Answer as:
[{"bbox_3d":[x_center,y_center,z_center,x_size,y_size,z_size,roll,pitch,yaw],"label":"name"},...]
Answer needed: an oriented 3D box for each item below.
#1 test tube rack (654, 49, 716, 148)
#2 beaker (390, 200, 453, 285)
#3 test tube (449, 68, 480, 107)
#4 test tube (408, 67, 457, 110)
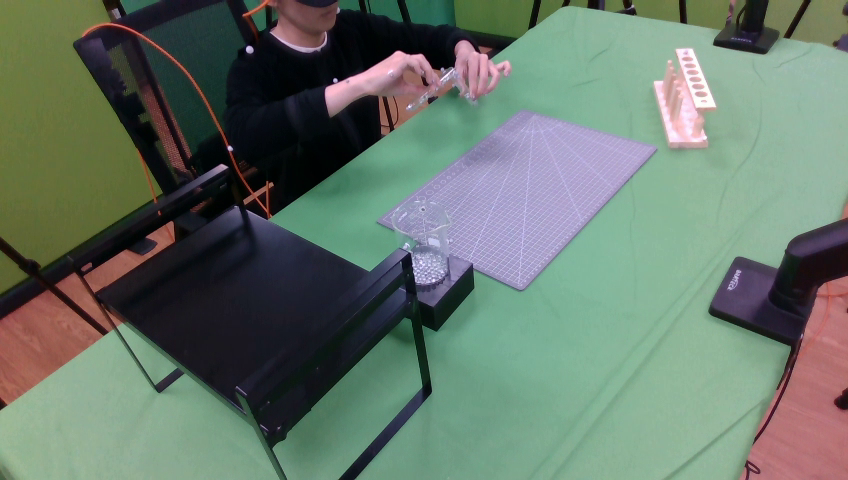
[{"bbox_3d":[0.502,-0.281,1.176,0.066,0.085,0.241,2,41,11],"label":"test tube rack"},{"bbox_3d":[0.002,0.006,0.831,0.084,0.101,0.074,5,42,13],"label":"beaker"},{"bbox_3d":[0.078,-0.281,1.124,0.017,0.151,0.017,-4,78,22],"label":"test tube"},{"bbox_3d":[0.015,-0.252,1.006,0.017,0.017,0.150,16,43,25],"label":"test tube"}]
